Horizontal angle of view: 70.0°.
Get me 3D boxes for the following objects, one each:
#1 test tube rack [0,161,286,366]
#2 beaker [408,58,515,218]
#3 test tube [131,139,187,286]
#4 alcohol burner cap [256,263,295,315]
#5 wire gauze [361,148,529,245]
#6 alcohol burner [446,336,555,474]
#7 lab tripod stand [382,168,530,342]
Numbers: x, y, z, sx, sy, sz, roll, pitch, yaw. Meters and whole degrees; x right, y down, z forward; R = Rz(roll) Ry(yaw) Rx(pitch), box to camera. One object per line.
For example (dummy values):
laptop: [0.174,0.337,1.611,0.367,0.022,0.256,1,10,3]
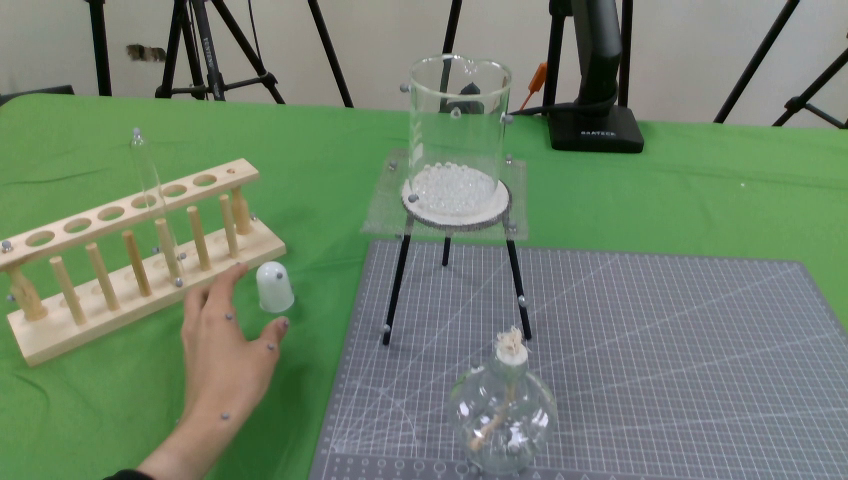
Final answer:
test tube rack: [-0.257,0.013,0.564,0.243,0.086,0.066,-26,45,-31]
beaker: [0.025,-0.075,0.451,0.074,0.101,0.083,11,38,9]
test tube: [-0.232,-0.020,0.534,0.017,0.151,0.017,1,36,-1]
alcohol burner cap: [-0.140,0.043,0.564,0.034,0.048,0.033,1,38,-1]
wire gauze: [0.021,-0.035,0.479,0.121,0.011,0.124,5,40,5]
alcohol burner: [0.055,0.108,0.419,0.078,0.120,0.077,1,39,0]
lab tripod stand: [0.029,0.017,0.521,0.148,0.132,0.147,2,37,-1]
